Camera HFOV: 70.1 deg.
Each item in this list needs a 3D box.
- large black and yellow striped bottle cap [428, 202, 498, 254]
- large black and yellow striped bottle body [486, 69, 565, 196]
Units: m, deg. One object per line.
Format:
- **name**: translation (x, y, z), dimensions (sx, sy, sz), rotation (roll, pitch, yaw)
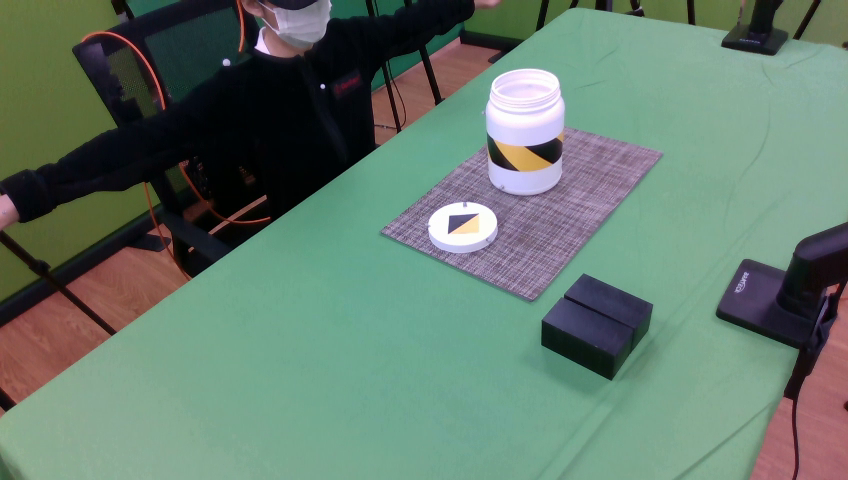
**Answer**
- **large black and yellow striped bottle cap**: translation (0.064, -0.022, 0.990), dimensions (0.115, 0.019, 0.114), rotation (-4, 42, 4)
- **large black and yellow striped bottle body**: translation (0.173, -0.183, 1.033), dimensions (0.131, 0.185, 0.130), rotation (-5, 41, 5)
